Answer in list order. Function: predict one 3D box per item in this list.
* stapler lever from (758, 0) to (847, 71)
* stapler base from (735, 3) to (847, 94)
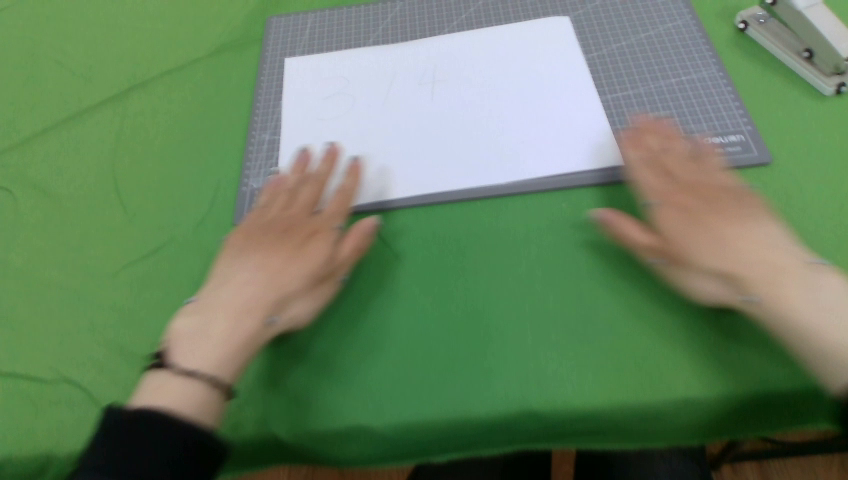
[{"bbox_3d":[0.340,-0.198,0.533,0.027,0.040,0.117,-24,56,-5],"label":"stapler lever"},{"bbox_3d":[0.342,-0.185,0.554,0.041,0.025,0.129,-24,57,-5],"label":"stapler base"}]
